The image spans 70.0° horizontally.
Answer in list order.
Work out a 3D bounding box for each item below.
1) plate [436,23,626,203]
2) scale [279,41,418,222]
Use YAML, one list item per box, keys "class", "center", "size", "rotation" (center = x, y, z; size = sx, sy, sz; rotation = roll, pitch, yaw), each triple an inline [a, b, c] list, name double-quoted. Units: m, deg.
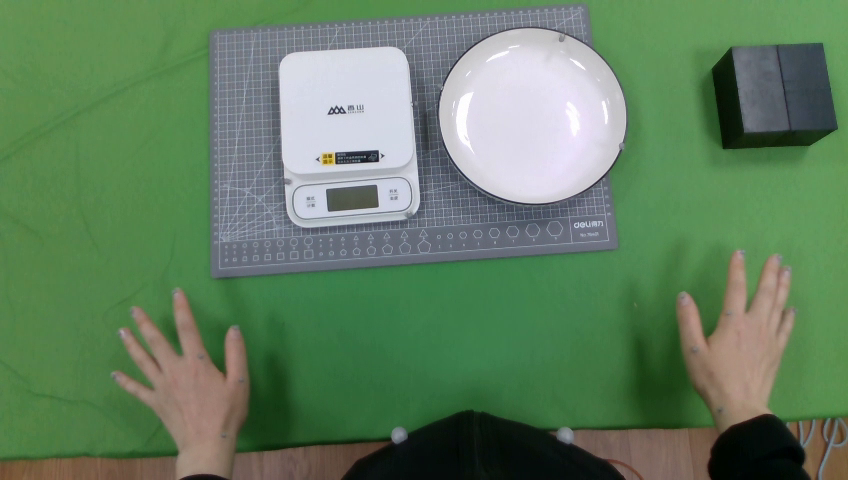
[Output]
- class: "plate"
  center: [0.117, -0.139, 0.677]
  size: [0.209, 0.038, 0.208]
  rotation: [0, 79, 0]
- class: "scale"
  center: [-0.086, -0.124, 0.679]
  size: [0.149, 0.031, 0.200]
  rotation: [-4, 80, 0]
